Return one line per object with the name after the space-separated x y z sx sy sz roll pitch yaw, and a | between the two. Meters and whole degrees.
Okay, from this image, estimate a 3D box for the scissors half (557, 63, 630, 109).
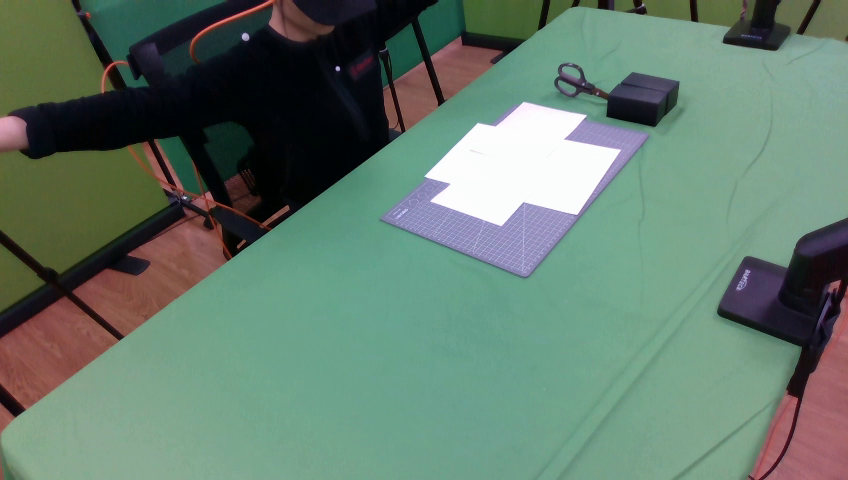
0.353 -0.318 1.255 0.174 0.040 0.013 37 56 13 | scissors half

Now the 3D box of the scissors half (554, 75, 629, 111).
0.351 -0.305 1.270 0.174 0.040 0.013 28 48 24 | scissors half
